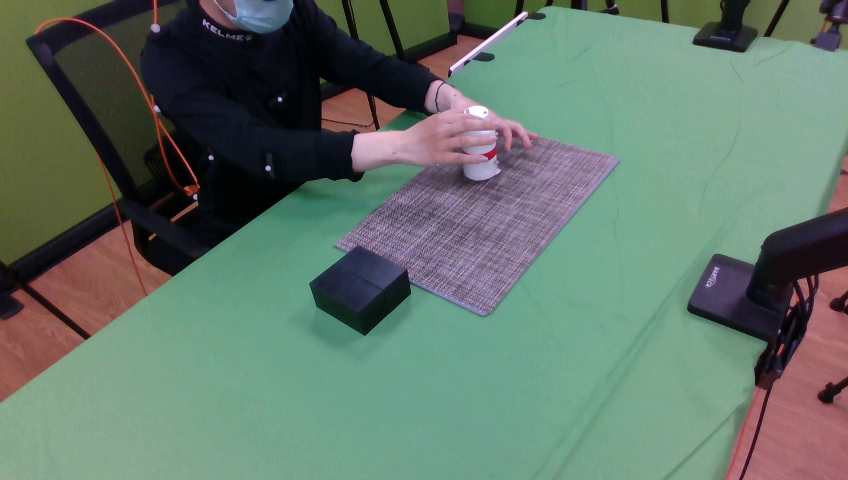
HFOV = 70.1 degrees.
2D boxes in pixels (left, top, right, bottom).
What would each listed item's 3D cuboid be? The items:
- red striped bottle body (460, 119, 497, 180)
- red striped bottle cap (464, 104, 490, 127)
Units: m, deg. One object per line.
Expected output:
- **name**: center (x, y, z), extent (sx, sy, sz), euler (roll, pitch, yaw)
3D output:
- **red striped bottle body**: center (0.096, -0.171, 1.068), extent (0.063, 0.120, 0.062), euler (-4, 40, 4)
- **red striped bottle cap**: center (0.090, -0.213, 1.033), extent (0.044, 0.018, 0.044), euler (-5, 48, 6)
